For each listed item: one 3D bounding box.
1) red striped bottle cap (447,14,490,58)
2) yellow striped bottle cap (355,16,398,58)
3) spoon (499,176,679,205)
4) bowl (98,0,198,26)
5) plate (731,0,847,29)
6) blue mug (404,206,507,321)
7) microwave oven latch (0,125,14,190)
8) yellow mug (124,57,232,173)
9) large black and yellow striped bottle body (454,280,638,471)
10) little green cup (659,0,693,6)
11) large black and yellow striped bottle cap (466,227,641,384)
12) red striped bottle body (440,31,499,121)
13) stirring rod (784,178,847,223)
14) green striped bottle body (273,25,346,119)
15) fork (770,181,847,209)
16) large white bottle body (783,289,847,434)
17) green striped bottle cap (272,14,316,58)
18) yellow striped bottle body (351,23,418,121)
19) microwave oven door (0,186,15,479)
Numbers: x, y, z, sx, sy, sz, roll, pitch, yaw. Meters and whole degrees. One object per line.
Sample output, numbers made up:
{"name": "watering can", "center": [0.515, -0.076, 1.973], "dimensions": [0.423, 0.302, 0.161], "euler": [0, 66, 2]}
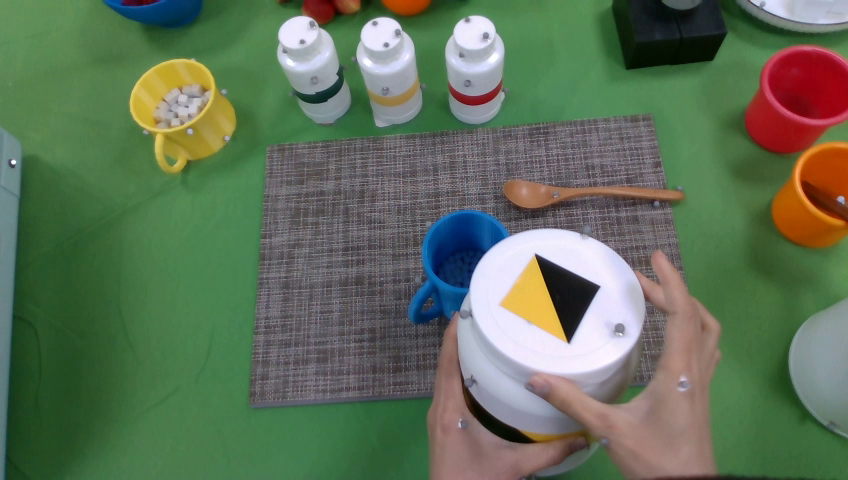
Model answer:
{"name": "red striped bottle cap", "center": [0.046, -0.209, 0.619], "dimensions": [0.044, 0.018, 0.044], "euler": [0, 67, 1]}
{"name": "yellow striped bottle cap", "center": [-0.050, -0.211, 0.628], "dimensions": [0.044, 0.019, 0.044], "euler": [0, 65, 1]}
{"name": "spoon", "center": [0.177, -0.054, 0.652], "dimensions": [0.193, 0.022, 0.041], "euler": [-1, 47, 4]}
{"name": "bowl", "center": [-0.345, -0.333, 0.781], "dimensions": [0.151, 0.077, 0.150], "euler": [-1, 69, 4]}
{"name": "plate", "center": [0.452, -0.336, 0.734], "dimensions": [0.209, 0.038, 0.207], "euler": [-2, 69, 4]}
{"name": "blue mug", "center": [0.027, 0.036, 0.586], "dimensions": [0.116, 0.106, 0.082], "euler": [-40, 70, -10]}
{"name": "microwave oven latch", "center": [-0.498, -0.095, 0.703], "dimensions": [0.030, 0.030, 0.078], "euler": [-11, 69, 0]}
{"name": "yellow mug", "center": [-0.289, -0.140, 0.707], "dimensions": [0.100, 0.064, 0.130], "euler": [5, 70, 7]}
{"name": "large black and yellow striped bottle body", "center": [0.088, 0.090, 0.471], "dimensions": [0.131, 0.185, 0.129], "euler": [-1, 52, 2]}
{"name": "little green cup", "center": [0.286, -0.295, 0.678], "dimensions": [0.061, 0.039, 0.061], "euler": [-1, 67, 3]}
{"name": "large black and yellow striped bottle cap", "center": [0.085, 0.040, 0.404], "dimensions": [0.115, 0.019, 0.114], "euler": [-1, 52, 2]}
{"name": "red striped bottle body", "center": [0.050, -0.189, 0.668], "dimensions": [0.063, 0.120, 0.062], "euler": [-2, 67, 5]}
{"name": "stirring rod", "center": [0.388, -0.027, 0.567], "dimensions": [0.014, 0.006, 0.175], "euler": [-1, 25, 1]}
{"name": "green striped bottle body", "center": [-0.130, -0.195, 0.686], "dimensions": [0.063, 0.120, 0.062], "euler": [-2, 68, 4]}
{"name": "fork", "center": [0.417, -0.028, 0.556], "dimensions": [0.028, 0.019, 0.205], "euler": [-31, 24, -15]}
{"name": "large white bottle body", "center": [0.399, 0.089, 0.493], "dimensions": [0.130, 0.186, 0.129], "euler": [-2, 68, 5]}
{"name": "green striped bottle cap", "center": [-0.137, -0.215, 0.638], "dimensions": [0.044, 0.020, 0.044], "euler": [0, 69, 2]}
{"name": "yellow striped bottle body", "center": [-0.044, -0.192, 0.677], "dimensions": [0.063, 0.121, 0.062], "euler": [-2, 68, 5]}
{"name": "microwave oven door", "center": [-0.464, 0.066, 0.528], "dimensions": [0.039, 0.245, 0.353], "euler": [-13, 68, 0]}
